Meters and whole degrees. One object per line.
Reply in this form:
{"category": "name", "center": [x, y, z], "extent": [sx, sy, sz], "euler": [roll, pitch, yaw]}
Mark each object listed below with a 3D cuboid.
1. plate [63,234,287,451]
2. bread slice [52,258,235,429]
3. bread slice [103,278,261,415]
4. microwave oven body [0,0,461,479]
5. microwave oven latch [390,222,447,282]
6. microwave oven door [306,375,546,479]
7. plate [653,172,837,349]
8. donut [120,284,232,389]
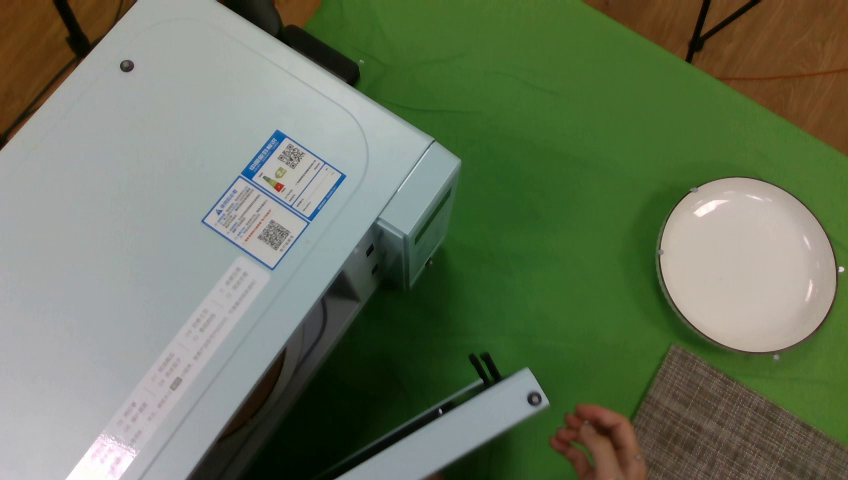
{"category": "plate", "center": [-0.239, 0.098, 0.598], "extent": [0.209, 0.038, 0.208], "euler": [1, 79, -5]}
{"category": "bread slice", "center": [-0.242, 0.082, 0.546], "extent": [0.107, 0.018, 0.134], "euler": [44, 71, -1]}
{"category": "bread slice", "center": [-0.248, 0.111, 0.612], "extent": [0.131, 0.019, 0.104], "euler": [-38, 81, -31]}
{"category": "microwave oven body", "center": [-0.226, 0.046, 0.562], "extent": [0.325, 0.261, 0.441], "euler": [33, 78, 6]}
{"category": "microwave oven latch", "center": [-0.007, 0.007, 0.678], "extent": [0.030, 0.029, 0.079], "euler": [37, 79, 7]}
{"category": "microwave oven door", "center": [-0.075, 0.215, 0.522], "extent": [0.356, 0.245, 0.039], "euler": [-28, 78, -8]}
{"category": "plate", "center": [0.367, 0.024, 0.707], "extent": [0.208, 0.039, 0.206], "euler": [1, 76, -2]}
{"category": "donut", "center": [-0.232, 0.090, 0.571], "extent": [0.099, 0.048, 0.098], "euler": [4, 74, -14]}
